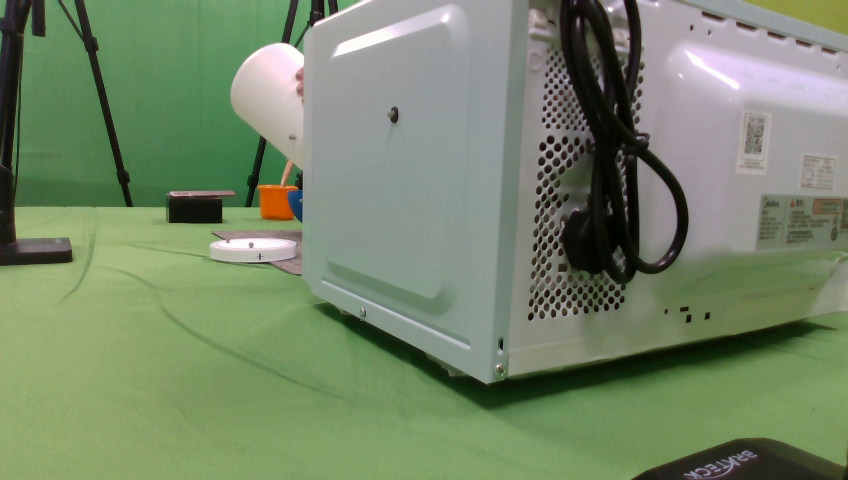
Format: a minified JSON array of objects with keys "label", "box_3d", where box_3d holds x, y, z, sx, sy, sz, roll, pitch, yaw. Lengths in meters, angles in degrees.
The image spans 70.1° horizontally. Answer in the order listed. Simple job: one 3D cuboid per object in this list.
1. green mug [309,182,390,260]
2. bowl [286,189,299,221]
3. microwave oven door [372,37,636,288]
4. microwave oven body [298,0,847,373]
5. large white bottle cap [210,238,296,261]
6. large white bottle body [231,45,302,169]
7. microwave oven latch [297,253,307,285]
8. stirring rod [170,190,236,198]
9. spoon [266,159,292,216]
[{"label":"green mug","box_3d":[-0.102,-0.029,0.864,0.126,0.105,0.092,-4,9,-39]},{"label":"bowl","box_3d":[-0.179,-0.051,1.115,0.151,0.077,0.151,3,8,0]},{"label":"microwave oven door","box_3d":[0.110,-0.080,0.687,0.358,0.243,0.039,-2,9,-33]},{"label":"microwave oven body","box_3d":[0.151,-0.055,0.543,0.444,0.260,0.324,-1,7,-33]},{"label":"large white bottle cap","box_3d":[-0.236,0.012,0.839,0.115,0.018,0.115,2,7,0]},{"label":"large white bottle body","box_3d":[-0.169,-0.178,0.869,0.184,0.130,0.131,40,19,15]},{"label":"microwave oven latch","box_3d":[-0.082,0.027,0.582,0.079,0.029,0.030,-1,7,-32]},{"label":"stirring rod","box_3d":[-0.465,-0.098,1.283,0.014,0.006,0.177,42,22,17]},{"label":"spoon","box_3d":[-0.333,-0.127,1.424,0.041,0.193,0.022,-1,-37,8]}]
